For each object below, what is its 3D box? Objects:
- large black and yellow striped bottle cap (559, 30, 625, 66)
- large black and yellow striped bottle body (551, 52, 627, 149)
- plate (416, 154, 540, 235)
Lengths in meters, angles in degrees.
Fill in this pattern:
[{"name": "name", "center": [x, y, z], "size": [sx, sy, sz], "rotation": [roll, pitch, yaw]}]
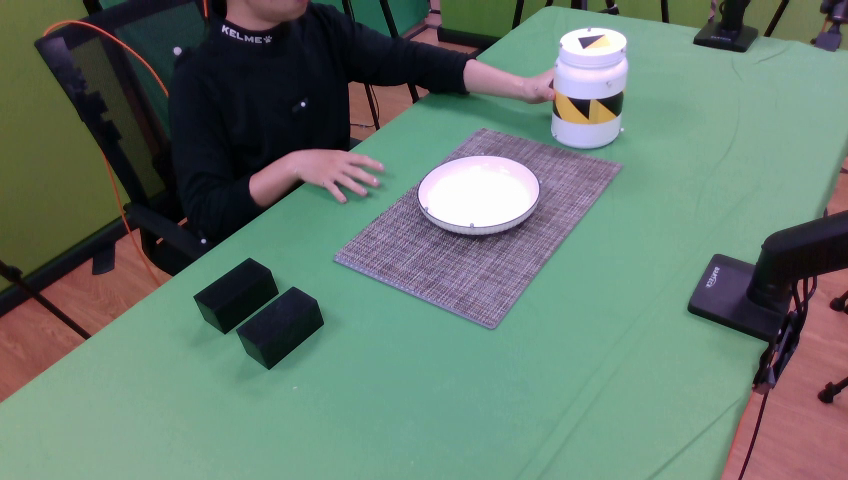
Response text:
[{"name": "large black and yellow striped bottle cap", "center": [0.297, -0.342, 1.070], "size": [0.115, 0.019, 0.114], "rotation": [-3, 42, 4]}, {"name": "large black and yellow striped bottle body", "center": [0.305, -0.278, 1.125], "size": [0.131, 0.185, 0.130], "rotation": [-4, 41, 4]}, {"name": "plate", "center": [0.090, -0.074, 1.025], "size": [0.207, 0.039, 0.206], "rotation": [-4, 41, 4]}]
